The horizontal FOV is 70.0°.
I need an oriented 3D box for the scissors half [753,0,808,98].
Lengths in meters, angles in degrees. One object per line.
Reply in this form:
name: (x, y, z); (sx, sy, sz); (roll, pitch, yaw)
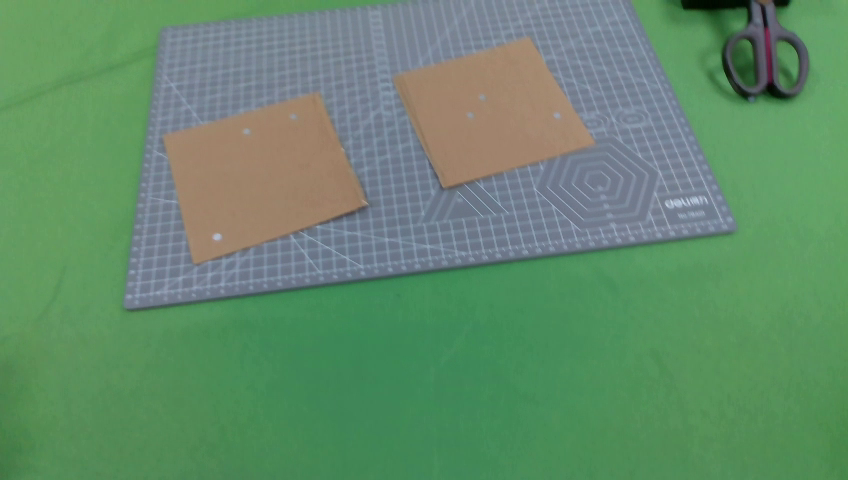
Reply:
scissors half: (0.303, -0.208, 0.530); (0.040, 0.013, 0.174); (-8, 82, -2)

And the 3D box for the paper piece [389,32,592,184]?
paper piece: (0.054, -0.117, 0.515); (0.136, 0.004, 0.134); (-17, 61, -8)

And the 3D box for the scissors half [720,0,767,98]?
scissors half: (0.283, -0.208, 0.529); (0.040, 0.013, 0.174); (10, 81, -5)

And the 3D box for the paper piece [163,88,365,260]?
paper piece: (-0.132, -0.060, 0.485); (0.138, 0.009, 0.134); (-20, 56, -8)
